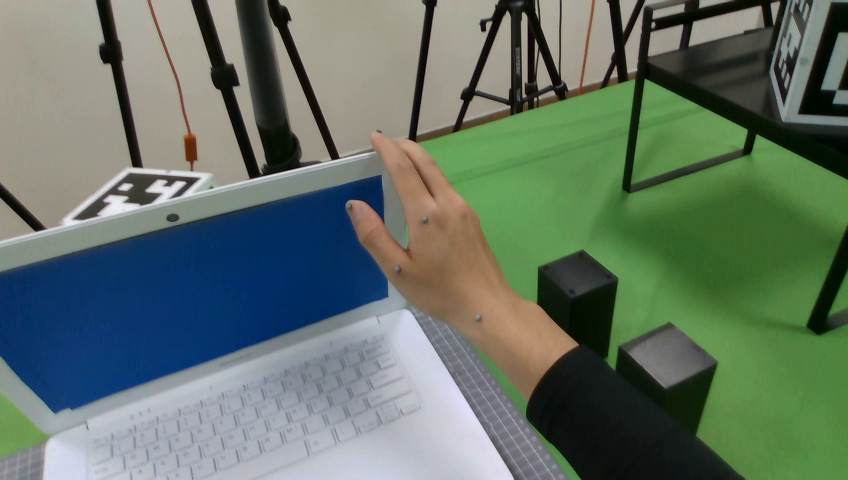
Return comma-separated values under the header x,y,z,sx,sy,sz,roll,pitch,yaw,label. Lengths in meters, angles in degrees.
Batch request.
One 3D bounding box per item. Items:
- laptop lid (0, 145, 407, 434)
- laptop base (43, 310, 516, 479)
x,y,z,sx,sy,sz,roll,pitch,yaw,label
-0.179,0.050,0.509,0.357,0.244,0.013,-19,53,-14,laptop lid
-0.130,0.193,0.512,0.355,0.023,0.232,-19,41,-16,laptop base
